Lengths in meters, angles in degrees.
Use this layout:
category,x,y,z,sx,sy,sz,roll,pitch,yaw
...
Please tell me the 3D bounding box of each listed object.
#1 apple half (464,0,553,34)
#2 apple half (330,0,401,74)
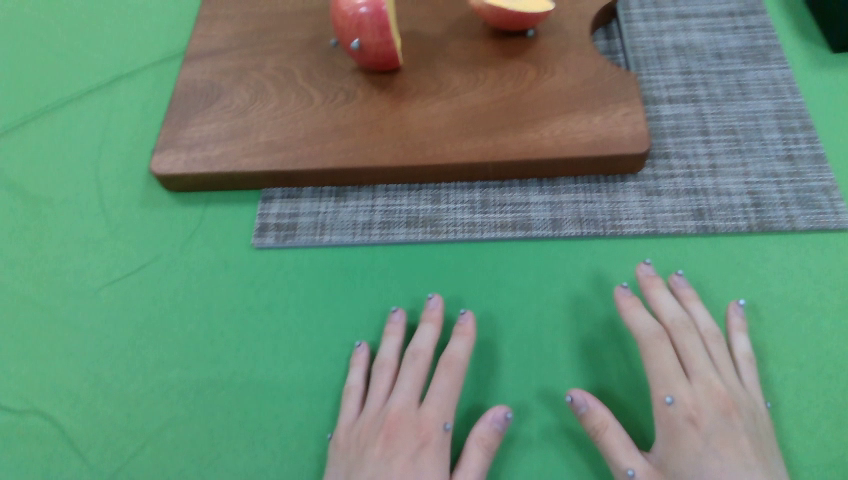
category,x,y,z,sx,sy,sz,roll,pitch,yaw
apple half,0.067,-0.198,0.526,0.081,0.033,0.080,9,42,-8
apple half,-0.050,-0.181,0.509,0.053,0.075,0.080,-10,62,5
